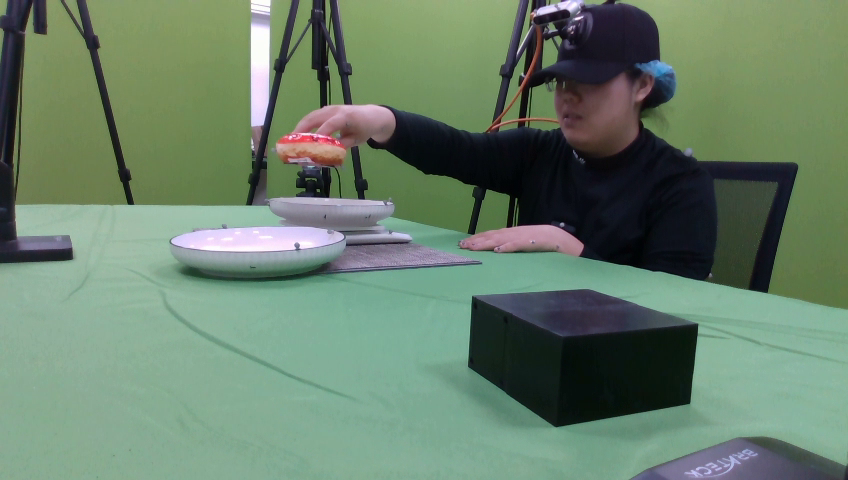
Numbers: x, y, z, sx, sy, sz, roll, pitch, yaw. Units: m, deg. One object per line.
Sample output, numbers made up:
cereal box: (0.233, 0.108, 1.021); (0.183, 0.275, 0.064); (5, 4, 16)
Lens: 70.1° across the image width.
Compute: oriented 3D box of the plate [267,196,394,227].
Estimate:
plate: (-0.152, -0.047, 0.998); (0.208, 0.039, 0.207); (3, 7, 0)

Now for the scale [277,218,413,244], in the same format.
scale: (-0.134, -0.016, 1.015); (0.202, 0.031, 0.148); (-2, 9, -33)

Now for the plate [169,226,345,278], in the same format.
plate: (-0.202, 0.014, 0.748); (0.209, 0.038, 0.209); (1, 9, 0)

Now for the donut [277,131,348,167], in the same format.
donut: (-0.158, -0.126, 0.856); (0.099, 0.048, 0.099); (4, 1, 0)
